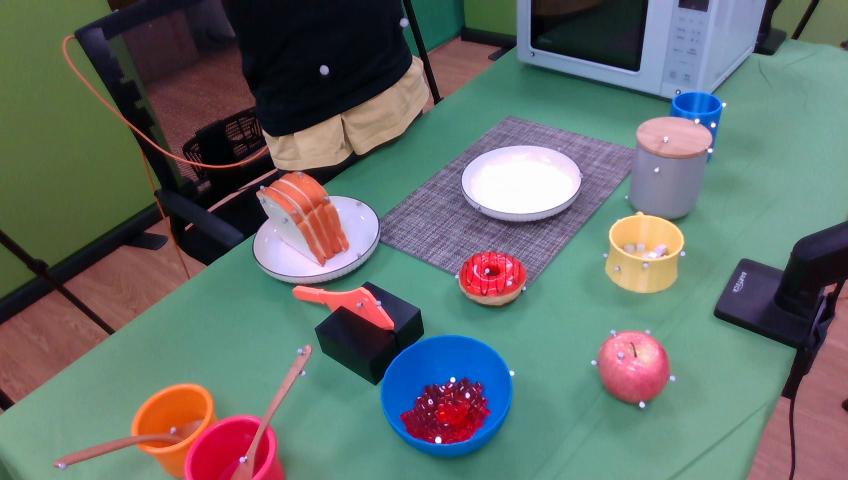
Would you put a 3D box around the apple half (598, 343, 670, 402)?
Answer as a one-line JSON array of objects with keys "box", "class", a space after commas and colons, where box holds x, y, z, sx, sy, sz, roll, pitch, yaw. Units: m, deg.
[{"box": [0.247, 0.161, 0.710, 0.081, 0.075, 0.053, 2, 47, 5], "class": "apple half"}]

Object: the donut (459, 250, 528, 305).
[{"box": [0.100, 0.053, 0.872, 0.099, 0.048, 0.098, -5, 41, 4], "class": "donut"}]

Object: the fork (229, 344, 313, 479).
[{"box": [-0.173, 0.205, 0.662, 0.028, 0.019, 0.207, 29, 94, 36], "class": "fork"}]

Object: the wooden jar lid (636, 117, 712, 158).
[{"box": [0.377, -0.151, 0.917, 0.108, 0.021, 0.108, -2, 42, 2], "class": "wooden jar lid"}]

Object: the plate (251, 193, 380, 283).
[{"box": [-0.173, -0.001, 0.985, 0.209, 0.038, 0.208, -4, 41, 4], "class": "plate"}]

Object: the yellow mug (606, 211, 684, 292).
[{"box": [0.318, 0.008, 0.883, 0.100, 0.064, 0.130, 0, 40, 9], "class": "yellow mug"}]

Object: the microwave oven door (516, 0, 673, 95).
[{"box": [0.344, -0.458, 1.256, 0.353, 0.245, 0.039, 26, 51, 33], "class": "microwave oven door"}]

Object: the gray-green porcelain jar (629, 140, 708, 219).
[{"box": [0.383, -0.105, 0.958, 0.106, 0.127, 0.105, -4, 41, 4], "class": "gray-green porcelain jar"}]

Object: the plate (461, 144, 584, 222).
[{"box": [0.168, -0.095, 1.040, 0.207, 0.039, 0.206, -4, 40, 4], "class": "plate"}]

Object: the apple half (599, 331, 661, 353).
[{"box": [0.249, 0.134, 0.738, 0.081, 0.081, 0.032, -1, 46, 7], "class": "apple half"}]

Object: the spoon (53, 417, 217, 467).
[{"box": [-0.308, 0.219, 0.663, 0.041, 0.195, 0.021, 24, 94, 29], "class": "spoon"}]

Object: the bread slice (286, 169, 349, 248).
[{"box": [-0.170, -0.054, 0.960, 0.019, 0.132, 0.104, -41, 50, -22], "class": "bread slice"}]

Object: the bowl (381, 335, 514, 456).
[{"box": [0.029, 0.192, 0.701, 0.151, 0.077, 0.150, -4, 40, 4], "class": "bowl"}]

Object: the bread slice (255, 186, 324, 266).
[{"box": [-0.211, -0.027, 0.936, 0.106, 0.135, 0.018, 27, 61, 35], "class": "bread slice"}]

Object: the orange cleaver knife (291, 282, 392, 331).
[{"box": [-0.118, 0.090, 0.835, 0.209, 0.077, 0.012, 2, 33, 49], "class": "orange cleaver knife"}]

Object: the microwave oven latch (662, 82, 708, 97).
[{"box": [0.517, -0.298, 1.202, 0.078, 0.029, 0.030, 27, 52, 34], "class": "microwave oven latch"}]

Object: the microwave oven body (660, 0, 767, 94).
[{"box": [0.473, -0.516, 1.313, 0.438, 0.261, 0.327, 26, 51, 34], "class": "microwave oven body"}]

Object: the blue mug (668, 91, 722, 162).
[{"box": [0.474, -0.207, 1.078, 0.082, 0.106, 0.116, 4, 42, 13], "class": "blue mug"}]
